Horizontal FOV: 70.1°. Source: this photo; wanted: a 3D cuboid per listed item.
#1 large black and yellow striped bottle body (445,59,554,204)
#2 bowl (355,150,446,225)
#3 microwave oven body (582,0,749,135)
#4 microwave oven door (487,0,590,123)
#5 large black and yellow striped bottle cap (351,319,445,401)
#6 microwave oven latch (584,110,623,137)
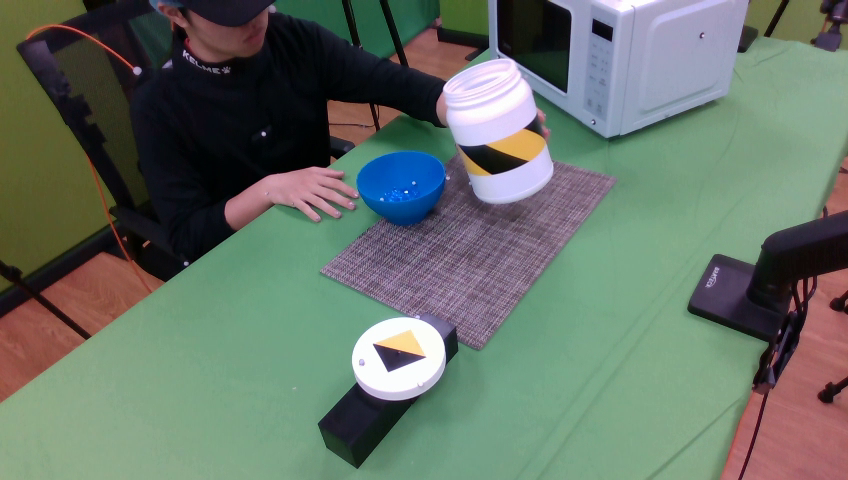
[{"bbox_3d":[0.112,-0.161,0.902,0.130,0.185,0.130,-17,30,11],"label":"large black and yellow striped bottle body"},{"bbox_3d":[-0.035,-0.078,1.017,0.151,0.077,0.150,-4,40,4],"label":"bowl"},{"bbox_3d":[0.382,-0.444,1.246,0.327,0.261,0.437,-22,42,-16],"label":"microwave oven body"},{"bbox_3d":[0.232,-0.420,1.230,0.039,0.245,0.352,-22,43,-16],"label":"microwave oven door"},{"bbox_3d":[-0.031,0.143,0.735,0.115,0.019,0.114,-3,40,3],"label":"large black and yellow striped bottle cap"},{"bbox_3d":[0.337,-0.222,1.142,0.030,0.029,0.078,-21,42,-14],"label":"microwave oven latch"}]
